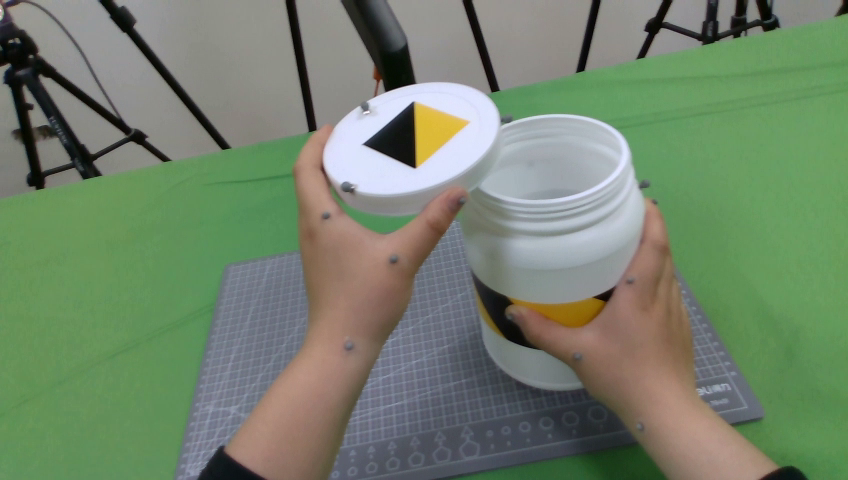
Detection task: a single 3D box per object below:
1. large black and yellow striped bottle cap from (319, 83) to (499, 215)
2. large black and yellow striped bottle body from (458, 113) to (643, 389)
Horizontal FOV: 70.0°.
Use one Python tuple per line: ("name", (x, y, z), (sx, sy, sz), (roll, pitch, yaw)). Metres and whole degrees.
("large black and yellow striped bottle cap", (-0.010, -0.062, 0.386), (0.115, 0.019, 0.114), (-7, 46, 8))
("large black and yellow striped bottle body", (0.097, 0.010, 0.463), (0.130, 0.186, 0.129), (-8, 40, 7))
